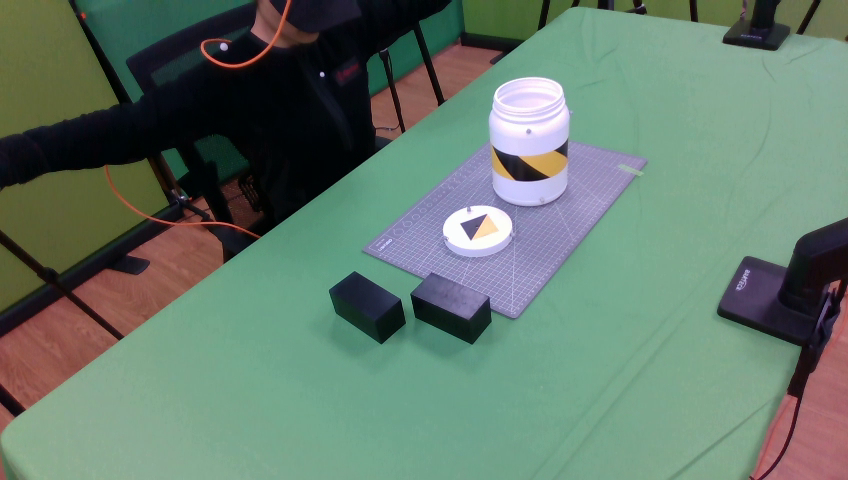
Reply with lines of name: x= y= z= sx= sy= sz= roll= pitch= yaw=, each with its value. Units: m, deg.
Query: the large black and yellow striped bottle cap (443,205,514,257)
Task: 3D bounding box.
large black and yellow striped bottle cap: x=0.088 y=-0.016 z=0.986 sx=0.115 sy=0.019 sz=0.114 roll=-4 pitch=41 yaw=4

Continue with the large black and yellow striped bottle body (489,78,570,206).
large black and yellow striped bottle body: x=0.177 y=-0.164 z=1.012 sx=0.131 sy=0.185 sz=0.130 roll=-5 pitch=40 yaw=5
